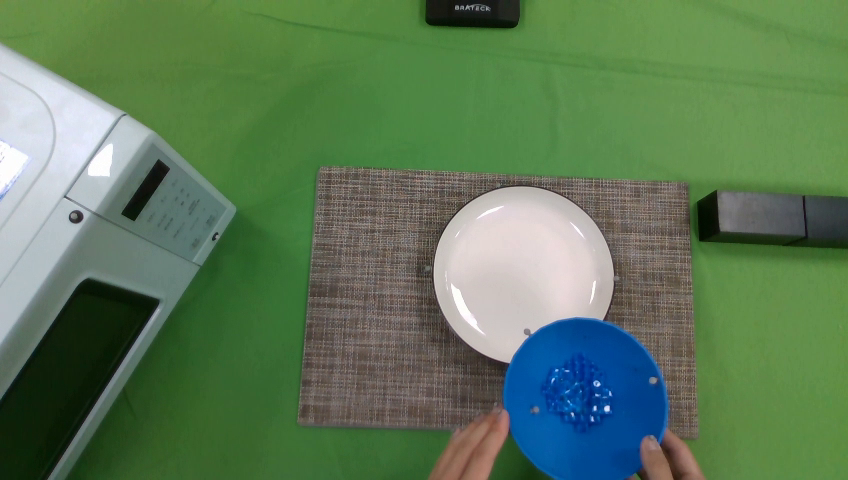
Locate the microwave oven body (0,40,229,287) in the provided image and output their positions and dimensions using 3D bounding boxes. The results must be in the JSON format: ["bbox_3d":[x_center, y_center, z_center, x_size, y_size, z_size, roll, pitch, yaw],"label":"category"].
[{"bbox_3d":[-0.460,0.041,0.569,0.325,0.261,0.440,29,80,4],"label":"microwave oven body"}]

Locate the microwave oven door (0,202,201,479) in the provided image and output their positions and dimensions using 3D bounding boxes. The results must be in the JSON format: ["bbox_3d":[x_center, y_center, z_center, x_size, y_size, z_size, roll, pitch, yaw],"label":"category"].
[{"bbox_3d":[-0.353,0.146,0.545,0.039,0.244,0.355,29,79,6],"label":"microwave oven door"}]

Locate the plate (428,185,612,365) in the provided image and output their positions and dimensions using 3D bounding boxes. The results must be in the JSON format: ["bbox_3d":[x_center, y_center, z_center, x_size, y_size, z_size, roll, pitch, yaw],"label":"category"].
[{"bbox_3d":[0.107,0.041,0.695,0.208,0.039,0.206,0,79,-1],"label":"plate"}]

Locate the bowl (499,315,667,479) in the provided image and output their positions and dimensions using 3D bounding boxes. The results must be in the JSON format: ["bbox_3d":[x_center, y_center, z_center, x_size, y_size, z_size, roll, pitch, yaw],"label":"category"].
[{"bbox_3d":[0.144,0.151,0.587,0.151,0.077,0.150,0,77,0],"label":"bowl"}]

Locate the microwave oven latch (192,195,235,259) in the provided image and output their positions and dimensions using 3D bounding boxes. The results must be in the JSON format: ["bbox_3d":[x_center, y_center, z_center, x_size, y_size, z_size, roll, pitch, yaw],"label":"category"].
[{"bbox_3d":[-0.246,-0.019,0.684,0.030,0.029,0.079,31,80,5],"label":"microwave oven latch"}]
